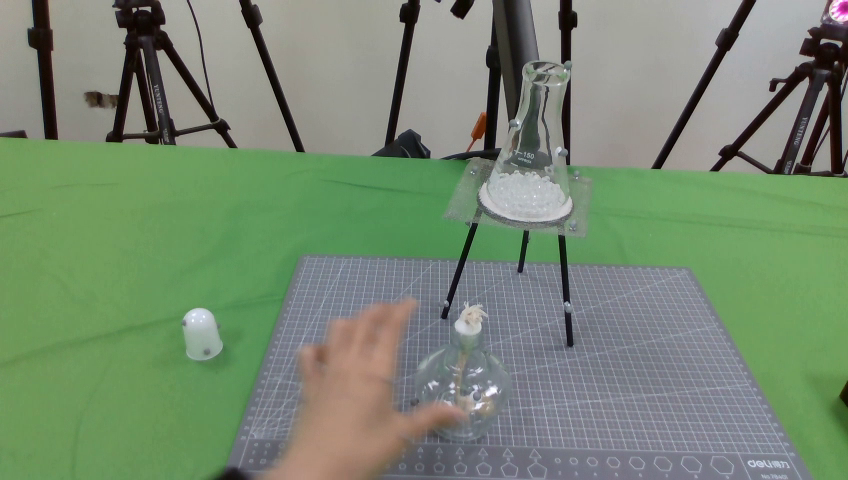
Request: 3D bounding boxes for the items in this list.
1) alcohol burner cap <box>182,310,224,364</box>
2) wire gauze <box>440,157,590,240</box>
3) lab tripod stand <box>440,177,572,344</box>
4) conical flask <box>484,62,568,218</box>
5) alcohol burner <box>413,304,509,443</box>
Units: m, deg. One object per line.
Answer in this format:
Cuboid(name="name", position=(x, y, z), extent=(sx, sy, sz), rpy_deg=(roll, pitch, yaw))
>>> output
Cuboid(name="alcohol burner cap", position=(-0.205, 0.087, 0.555), extent=(0.034, 0.048, 0.033), rpy_deg=(1, 33, 0))
Cuboid(name="wire gauze", position=(0.088, -0.038, 0.553), extent=(0.121, 0.011, 0.124), rpy_deg=(10, 36, 12))
Cuboid(name="lab tripod stand", position=(0.092, 0.018, 0.588), extent=(0.148, 0.132, 0.147), rpy_deg=(3, 33, -2))
Cuboid(name="conical flask", position=(0.093, -0.086, 0.517), extent=(0.075, 0.123, 0.074), rpy_deg=(2, 34, -1))
Cuboid(name="alcohol burner", position=(0.030, 0.100, 0.476), extent=(0.078, 0.120, 0.077), rpy_deg=(1, 31, 0))
